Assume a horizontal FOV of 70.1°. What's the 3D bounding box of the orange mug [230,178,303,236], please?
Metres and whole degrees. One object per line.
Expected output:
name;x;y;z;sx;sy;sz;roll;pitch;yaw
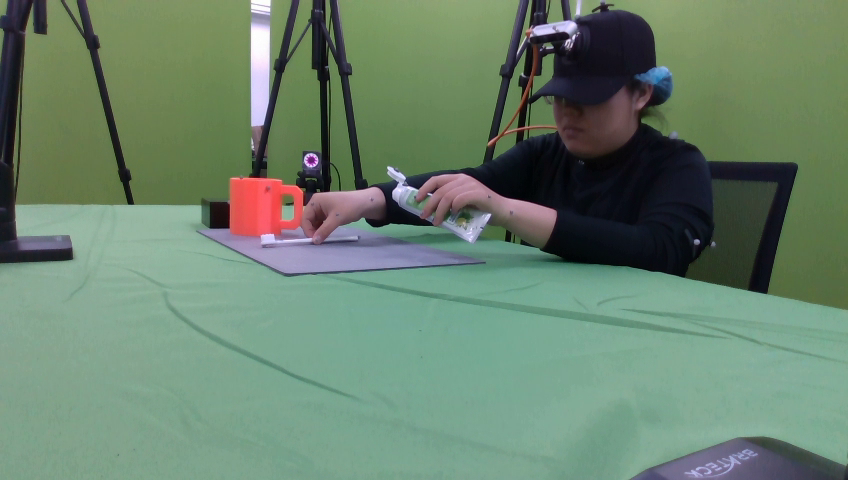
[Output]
orange mug;-0.275;-0.060;1.058;0.126;0.101;0.083;-2;8;-5

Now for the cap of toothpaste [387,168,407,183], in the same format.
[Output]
cap of toothpaste;-0.044;-0.100;0.946;0.037;0.011;0.037;29;20;-11

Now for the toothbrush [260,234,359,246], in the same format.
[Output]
toothbrush;-0.177;-0.002;0.959;0.183;0.016;0.014;-3;-13;-43

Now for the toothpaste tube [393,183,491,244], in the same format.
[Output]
toothpaste tube;0.020;-0.048;0.909;0.164;0.055;0.034;26;-9;28
